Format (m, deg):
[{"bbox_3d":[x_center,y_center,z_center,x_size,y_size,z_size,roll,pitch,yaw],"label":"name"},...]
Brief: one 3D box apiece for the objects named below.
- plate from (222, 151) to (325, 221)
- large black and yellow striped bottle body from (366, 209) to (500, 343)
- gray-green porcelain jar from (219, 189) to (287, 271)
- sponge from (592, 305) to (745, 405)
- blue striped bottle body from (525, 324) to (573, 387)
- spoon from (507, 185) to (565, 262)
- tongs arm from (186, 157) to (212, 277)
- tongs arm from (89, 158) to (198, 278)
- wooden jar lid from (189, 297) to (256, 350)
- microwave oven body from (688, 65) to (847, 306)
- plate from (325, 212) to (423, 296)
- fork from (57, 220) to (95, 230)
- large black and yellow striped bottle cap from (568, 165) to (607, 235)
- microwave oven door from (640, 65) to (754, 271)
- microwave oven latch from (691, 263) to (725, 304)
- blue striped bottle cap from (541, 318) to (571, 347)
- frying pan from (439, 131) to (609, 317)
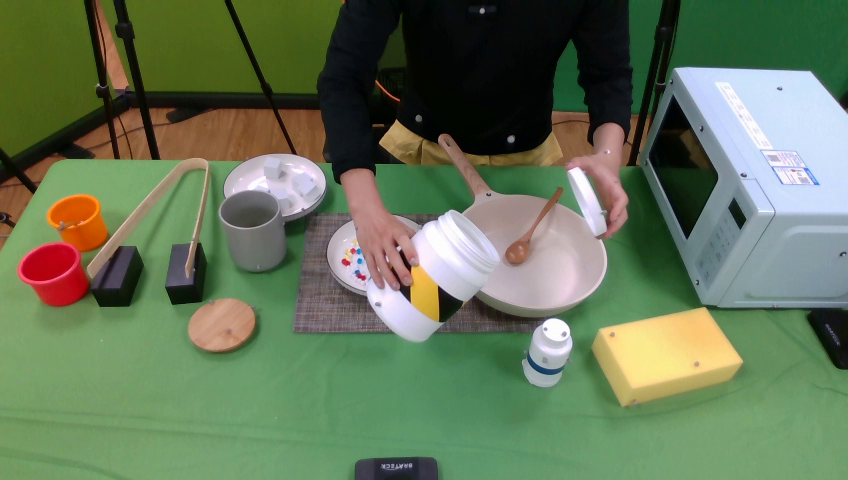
[{"bbox_3d":[-0.310,-0.106,1.262,0.208,0.039,0.206,2,47,-2],"label":"plate"},{"bbox_3d":[0.015,0.053,0.928,0.131,0.184,0.130,40,17,-15],"label":"large black and yellow striped bottle body"},{"bbox_3d":[-0.309,-0.014,1.113,0.106,0.127,0.105,2,46,-2],"label":"gray-green porcelain jar"},{"bbox_3d":[0.405,0.190,1.015,0.207,0.061,0.117,-10,48,-13],"label":"sponge"},{"bbox_3d":[0.201,0.178,0.970,0.063,0.121,0.062,1,46,-1],"label":"blue striped bottle body"},{"bbox_3d":[0.224,-0.034,1.188,0.041,0.022,0.193,30,79,30],"label":"spoon"},{"bbox_3d":[-0.445,-0.058,1.168,0.051,0.026,0.382,-5,37,-6],"label":"tongs arm"},{"bbox_3d":[-0.529,-0.057,1.164,0.028,0.028,0.385,1,36,8],"label":"tongs arm"},{"bbox_3d":[-0.342,0.145,1.033,0.108,0.021,0.107,3,45,-2],"label":"wooden jar lid"},{"bbox_3d":[0.669,-0.111,1.176,0.326,0.261,0.439,0,46,-3],"label":"microwave oven body"},{"bbox_3d":[-0.080,0.030,1.143,0.209,0.038,0.208,2,46,-2],"label":"plate"},{"bbox_3d":[-0.624,-0.027,1.086,0.028,0.207,0.018,-3,92,-17],"label":"fork"},{"bbox_3d":[0.258,-0.063,0.954,0.019,0.116,0.114,-23,47,11],"label":"large black and yellow striped bottle cap"},{"bbox_3d":[0.524,-0.148,1.193,0.039,0.245,0.353,0,47,-3],"label":"microwave oven door"},{"bbox_3d":[0.521,0.081,1.116,0.030,0.029,0.078,0,46,-3],"label":"microwave oven latch"},{"bbox_3d":[0.203,0.142,0.933,0.044,0.021,0.044,3,49,-3],"label":"blue striped bottle cap"},{"bbox_3d":[0.149,-0.049,1.190,0.307,0.103,0.484,-17,58,-19],"label":"frying pan"}]
